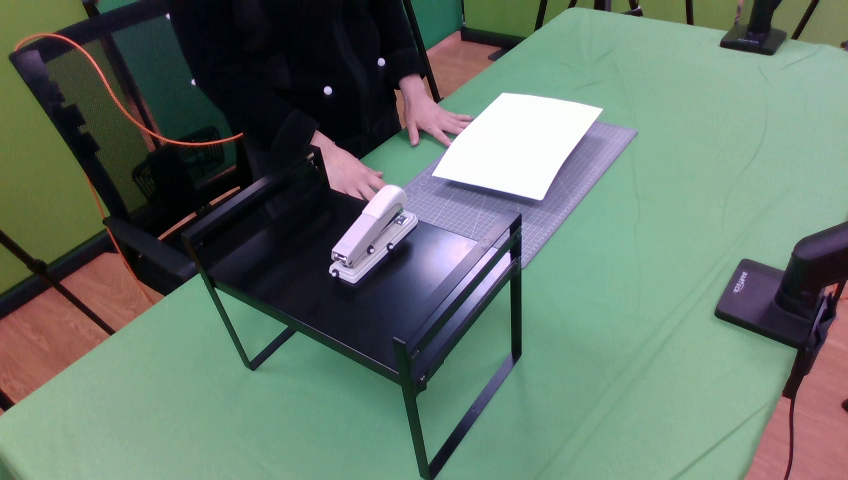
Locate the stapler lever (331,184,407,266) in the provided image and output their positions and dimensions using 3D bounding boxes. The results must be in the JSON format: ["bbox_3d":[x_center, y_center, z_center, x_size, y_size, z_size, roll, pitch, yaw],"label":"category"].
[{"bbox_3d":[-0.062,-0.020,0.690,0.026,0.040,0.118,18,48,31],"label":"stapler lever"}]

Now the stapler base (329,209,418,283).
[{"bbox_3d":[-0.058,-0.002,0.708,0.041,0.024,0.131,18,48,31],"label":"stapler base"}]
